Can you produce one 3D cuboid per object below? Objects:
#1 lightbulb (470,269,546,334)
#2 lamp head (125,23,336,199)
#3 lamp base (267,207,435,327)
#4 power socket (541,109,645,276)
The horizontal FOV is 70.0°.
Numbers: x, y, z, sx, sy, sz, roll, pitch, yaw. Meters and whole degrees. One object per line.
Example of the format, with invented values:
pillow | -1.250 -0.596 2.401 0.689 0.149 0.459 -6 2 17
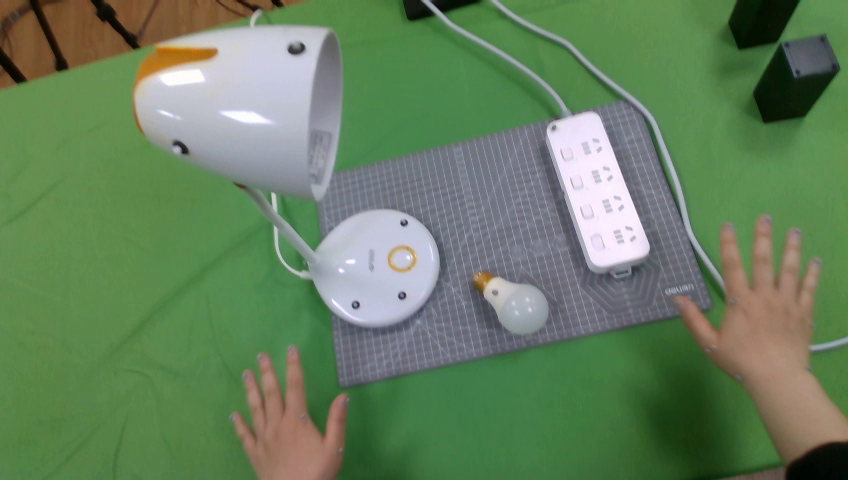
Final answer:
lightbulb | 0.095 0.068 0.716 0.106 0.060 0.059 35 79 36
lamp head | -0.123 -0.086 0.396 0.123 0.113 0.111 4 71 4
lamp base | -0.090 0.009 0.699 0.179 0.182 0.159 -16 68 7
power socket | 0.207 -0.065 0.754 0.072 0.033 0.225 -15 68 4
